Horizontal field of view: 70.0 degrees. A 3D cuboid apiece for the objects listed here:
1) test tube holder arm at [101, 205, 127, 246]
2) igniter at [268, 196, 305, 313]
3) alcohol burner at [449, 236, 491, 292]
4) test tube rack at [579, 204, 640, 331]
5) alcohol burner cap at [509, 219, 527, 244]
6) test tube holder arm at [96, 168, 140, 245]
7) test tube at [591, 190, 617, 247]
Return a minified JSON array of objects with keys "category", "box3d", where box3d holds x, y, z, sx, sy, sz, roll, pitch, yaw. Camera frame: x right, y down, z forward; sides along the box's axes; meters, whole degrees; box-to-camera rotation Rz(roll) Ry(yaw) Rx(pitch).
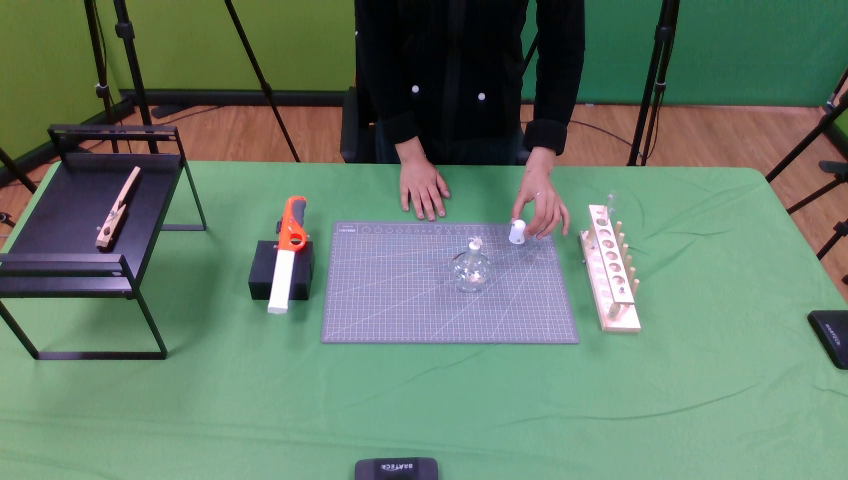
[{"category":"test tube holder arm","box3d":[-0.480,-0.024,0.938,0.010,0.015,0.087,27,37,-26]},{"category":"igniter","box3d":[-0.248,0.016,1.096,0.057,0.025,0.274,8,46,-12]},{"category":"alcohol burner","box3d":[0.086,0.038,1.101,0.078,0.119,0.077,3,44,-2]},{"category":"test tube rack","box3d":[0.353,0.047,1.137,0.067,0.085,0.241,2,46,-2]},{"category":"alcohol burner cap","box3d":[0.182,-0.019,1.164,0.034,0.048,0.033,-2,47,2]},{"category":"test tube holder arm","box3d":[-0.486,-0.058,0.968,0.013,0.015,0.177,27,37,-27]},{"category":"test tube","box3d":[0.340,-0.038,1.149,0.017,0.151,0.017,1,50,-1]}]
